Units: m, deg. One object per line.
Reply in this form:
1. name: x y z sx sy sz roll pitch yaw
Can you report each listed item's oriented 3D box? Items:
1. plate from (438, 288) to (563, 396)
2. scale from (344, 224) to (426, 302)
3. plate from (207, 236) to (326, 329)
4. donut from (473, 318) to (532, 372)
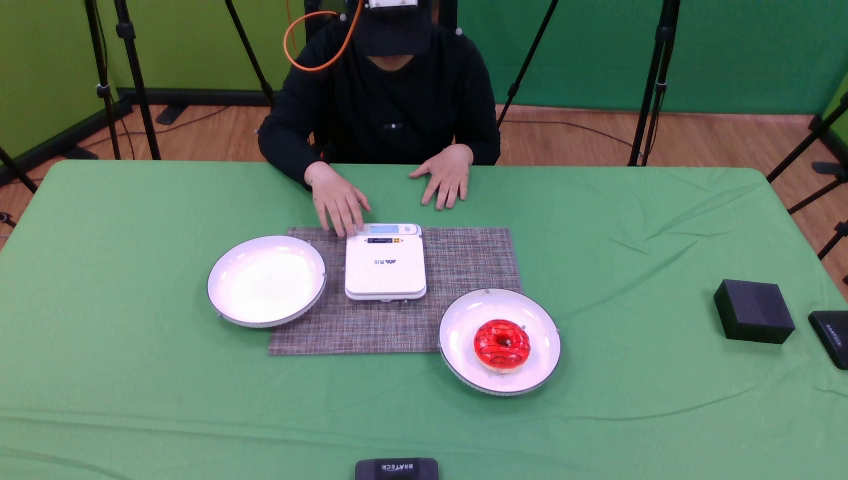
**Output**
1. plate: 0.127 0.173 1.025 0.209 0.038 0.208 3 48 -3
2. scale: -0.075 0.033 1.149 0.149 0.032 0.199 0 45 -5
3. plate: -0.278 0.078 1.088 0.208 0.039 0.206 1 46 0
4. donut: 0.131 0.174 1.010 0.099 0.048 0.098 1 48 -1
